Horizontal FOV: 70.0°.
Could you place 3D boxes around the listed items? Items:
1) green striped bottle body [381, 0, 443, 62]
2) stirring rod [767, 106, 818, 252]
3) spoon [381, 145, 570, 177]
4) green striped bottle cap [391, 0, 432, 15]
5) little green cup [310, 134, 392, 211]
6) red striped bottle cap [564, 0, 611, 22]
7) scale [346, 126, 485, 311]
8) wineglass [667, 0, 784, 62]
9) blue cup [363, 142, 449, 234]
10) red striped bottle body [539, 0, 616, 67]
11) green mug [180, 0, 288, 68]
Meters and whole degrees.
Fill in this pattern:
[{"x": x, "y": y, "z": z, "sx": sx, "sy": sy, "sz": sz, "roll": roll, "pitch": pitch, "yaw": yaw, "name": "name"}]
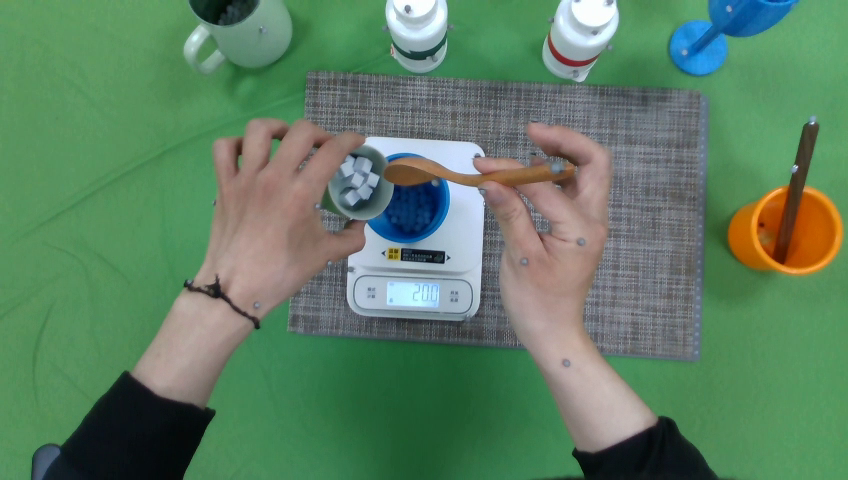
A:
[{"x": -0.011, "y": -0.237, "z": 0.638, "sx": 0.063, "sy": 0.119, "sz": 0.063, "roll": 0, "pitch": 87, "yaw": 2, "name": "green striped bottle body"}, {"x": 0.370, "y": -0.055, "z": 0.611, "sx": 0.014, "sy": 0.005, "sz": 0.178, "roll": -11, "pitch": 129, "yaw": 2, "name": "stirring rod"}, {"x": 0.027, "y": -0.051, "z": 0.408, "sx": 0.042, "sy": 0.192, "sz": 0.021, "roll": 16, "pitch": 90, "yaw": -33, "name": "spoon"}, {"x": -0.012, "y": -0.242, "z": 0.583, "sx": 0.044, "sy": 0.020, "sz": 0.044, "roll": 0, "pitch": 87, "yaw": 3, "name": "green striped bottle cap"}, {"x": -0.062, "y": -0.055, "z": 0.494, "sx": 0.062, "sy": 0.038, "sz": 0.061, "roll": -4, "pitch": 97, "yaw": -40, "name": "little green cup"}, {"x": 0.158, "y": -0.234, "z": 0.580, "sx": 0.044, "sy": 0.018, "sz": 0.044, "roll": 0, "pitch": 84, "yaw": 2, "name": "red striped bottle cap"}, {"x": -0.010, "y": -0.024, "z": 0.669, "sx": 0.148, "sy": 0.031, "sz": 0.200, "roll": 2, "pitch": 88, "yaw": 2, "name": "scale"}, {"x": 0.304, "y": -0.239, "z": 0.603, "sx": 0.074, "sy": 0.172, "sz": 0.073, "roll": 0, "pitch": 87, "yaw": 2, "name": "wineglass"}, {"x": -0.017, "y": -0.047, "z": 0.605, "sx": 0.092, "sy": 0.100, "sz": 0.092, "roll": 0, "pitch": 89, "yaw": 2, "name": "blue cup"}, {"x": 0.160, "y": -0.231, "z": 0.633, "sx": 0.063, "sy": 0.120, "sz": 0.063, "roll": 0, "pitch": 87, "yaw": 2, "name": "red striped bottle body"}, {"x": -0.212, "y": -0.240, "z": 0.652, "sx": 0.092, "sy": 0.105, "sz": 0.125, "roll": 38, "pitch": 89, "yaw": 3, "name": "green mug"}]
